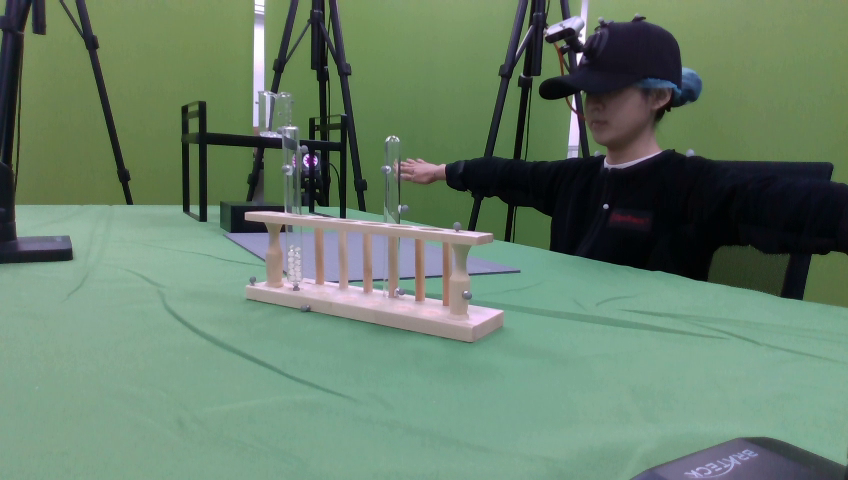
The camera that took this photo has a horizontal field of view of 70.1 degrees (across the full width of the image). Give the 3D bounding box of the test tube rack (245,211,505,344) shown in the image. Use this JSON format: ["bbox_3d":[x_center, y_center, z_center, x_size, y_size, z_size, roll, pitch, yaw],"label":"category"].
[{"bbox_3d":[-0.049,0.025,0.547,0.241,0.085,0.067,7,8,28],"label":"test tube rack"}]

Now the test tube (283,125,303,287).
[{"bbox_3d":[-0.121,-0.030,0.558,0.017,0.150,0.017,1,11,0],"label":"test tube"}]

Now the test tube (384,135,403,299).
[{"bbox_3d":[-0.028,-0.019,0.550,0.017,0.150,0.017,1,9,0],"label":"test tube"}]

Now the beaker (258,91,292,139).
[{"bbox_3d":[-0.331,-0.276,1.343,0.074,0.100,0.083,0,8,-20],"label":"beaker"}]
